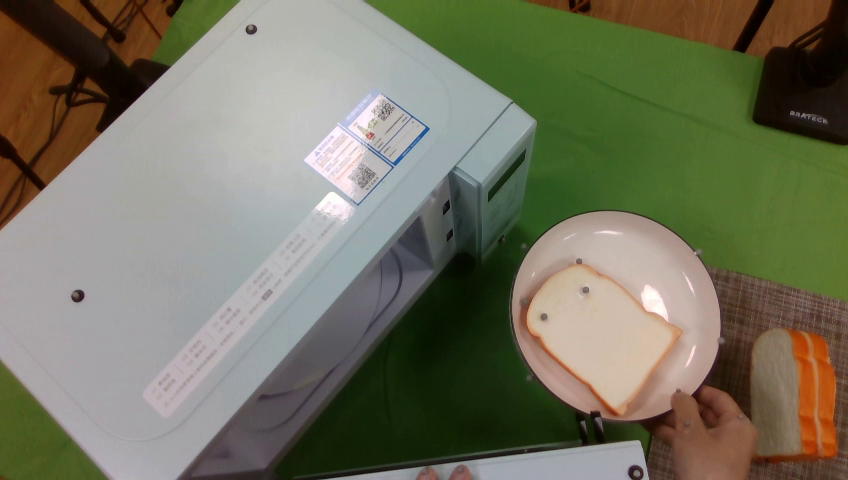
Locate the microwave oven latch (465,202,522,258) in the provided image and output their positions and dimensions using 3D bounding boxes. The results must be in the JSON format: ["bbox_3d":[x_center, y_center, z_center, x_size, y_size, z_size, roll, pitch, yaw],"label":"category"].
[{"bbox_3d":[0.082,-0.018,0.713,0.030,0.030,0.079,40,80,15],"label":"microwave oven latch"}]

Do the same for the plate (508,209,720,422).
[{"bbox_3d":[0.184,0.072,0.601,0.208,0.039,0.206,1,76,-3],"label":"plate"}]

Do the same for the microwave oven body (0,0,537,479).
[{"bbox_3d":[-0.153,-0.005,0.626,0.324,0.262,0.441,38,80,14],"label":"microwave oven body"}]

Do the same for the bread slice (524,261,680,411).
[{"bbox_3d":[0.166,0.087,0.595,0.134,0.018,0.107,37,74,8],"label":"bread slice"}]

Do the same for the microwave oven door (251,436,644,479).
[{"bbox_3d":[-0.011,0.214,0.540,0.356,0.245,0.039,-8,71,2],"label":"microwave oven door"}]
